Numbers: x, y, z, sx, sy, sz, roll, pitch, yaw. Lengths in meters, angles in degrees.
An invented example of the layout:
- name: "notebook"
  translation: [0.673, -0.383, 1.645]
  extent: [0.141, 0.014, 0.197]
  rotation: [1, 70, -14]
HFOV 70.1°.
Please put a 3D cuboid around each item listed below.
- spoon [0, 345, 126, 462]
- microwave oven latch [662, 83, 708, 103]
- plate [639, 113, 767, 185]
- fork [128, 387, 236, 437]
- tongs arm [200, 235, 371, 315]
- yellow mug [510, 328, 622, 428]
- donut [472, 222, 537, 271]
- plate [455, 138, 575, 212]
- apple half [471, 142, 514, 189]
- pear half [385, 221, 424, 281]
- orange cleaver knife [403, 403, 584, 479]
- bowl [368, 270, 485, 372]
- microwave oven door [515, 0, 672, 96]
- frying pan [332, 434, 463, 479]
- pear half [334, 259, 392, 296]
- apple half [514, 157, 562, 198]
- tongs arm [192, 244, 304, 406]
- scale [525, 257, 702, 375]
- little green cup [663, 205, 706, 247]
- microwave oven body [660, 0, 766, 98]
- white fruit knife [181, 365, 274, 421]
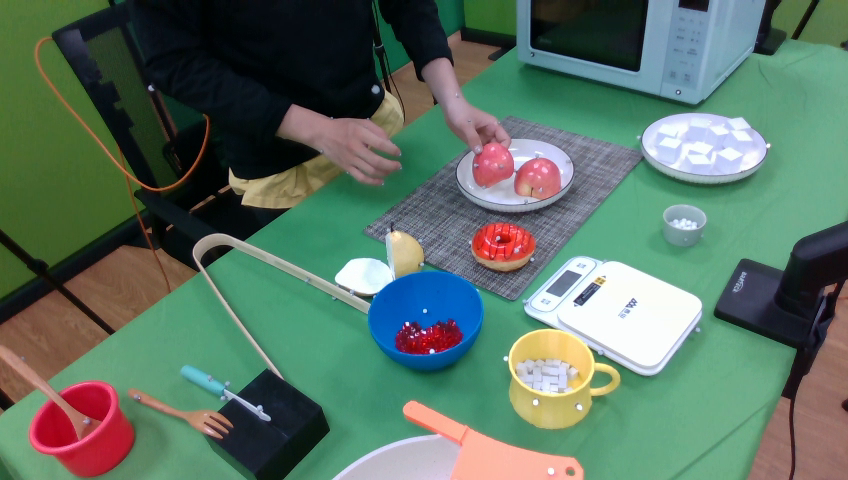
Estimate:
- name: "spoon"
  translation: [-0.434, 0.192, 0.720]
  extent: [0.194, 0.021, 0.042]
  rotation: [47, 53, -7]
- name: "microwave oven latch"
  translation: [0.517, -0.296, 1.204]
  extent: [0.078, 0.029, 0.030]
  rotation: [28, 52, 35]
- name: "plate"
  translation: [0.489, -0.157, 1.074]
  extent: [0.207, 0.039, 0.206]
  rotation: [-4, 40, 4]
- name: "fork"
  translation: [-0.305, 0.207, 0.744]
  extent: [0.206, 0.019, 0.028]
  rotation: [3, 41, 36]
- name: "tongs arm"
  translation: [-0.209, 0.062, 0.924]
  extent: [0.381, 0.027, 0.051]
  rotation: [23, 54, 32]
- name: "yellow mug"
  translation: [0.168, 0.164, 0.722]
  extent: [0.130, 0.064, 0.099]
  rotation: [0, 40, 8]
- name: "donut"
  translation: [0.123, 0.008, 0.923]
  extent: [0.099, 0.048, 0.098]
  rotation: [-3, 37, 3]
- name: "plate"
  translation: [0.159, -0.111, 1.063]
  extent: [0.209, 0.038, 0.208]
  rotation: [-4, 40, 4]
- name: "apple half"
  translation: [0.107, -0.128, 1.008]
  extent: [0.081, 0.033, 0.081]
  rotation: [-4, 81, 26]
- name: "pear half"
  translation: [-0.030, 0.013, 0.897]
  extent: [0.056, 0.110, 0.075]
  rotation: [-17, 45, -12]
- name: "orange cleaver knife"
  translation: [0.062, 0.223, 0.610]
  extent: [0.210, 0.012, 0.077]
  rotation: [15, 47, 25]
- name: "bowl"
  translation: [0.007, 0.119, 0.791]
  extent: [0.151, 0.077, 0.150]
  rotation: [-5, 40, 4]
- name: "microwave oven door"
  translation: [0.343, -0.454, 1.259]
  extent: [0.353, 0.245, 0.039]
  rotation: [26, 51, 33]
- name: "frying pan"
  translation: [-0.089, 0.306, 0.564]
  extent: [0.487, 0.103, 0.306]
  rotation: [10, 41, 7]
- name: "pear half"
  translation: [-0.093, 0.062, 0.906]
  extent: [0.088, 0.031, 0.070]
  rotation: [-10, 43, -23]
- name: "apple half"
  translation: [0.196, -0.113, 1.032]
  extent: [0.080, 0.053, 0.075]
  rotation: [16, 44, 30]
- name: "tongs arm"
  translation: [-0.268, 0.111, 0.884]
  extent: [0.028, 0.028, 0.384]
  rotation: [-36, 47, -17]
- name: "scale"
  translation: [0.254, 0.091, 0.821]
  extent: [0.199, 0.032, 0.149]
  rotation: [28, 51, 35]
- name: "little green cup"
  translation: [0.396, -0.020, 0.926]
  extent: [0.061, 0.039, 0.061]
  rotation: [-4, 40, 4]
- name: "microwave oven body"
  translation: [0.472, -0.513, 1.317]
  extent: [0.438, 0.261, 0.327]
  rotation: [26, 51, 34]
- name: "white fruit knife"
  translation: [-0.245, 0.187, 0.747]
  extent: [0.205, 0.027, 0.016]
  rotation: [9, 41, 41]
